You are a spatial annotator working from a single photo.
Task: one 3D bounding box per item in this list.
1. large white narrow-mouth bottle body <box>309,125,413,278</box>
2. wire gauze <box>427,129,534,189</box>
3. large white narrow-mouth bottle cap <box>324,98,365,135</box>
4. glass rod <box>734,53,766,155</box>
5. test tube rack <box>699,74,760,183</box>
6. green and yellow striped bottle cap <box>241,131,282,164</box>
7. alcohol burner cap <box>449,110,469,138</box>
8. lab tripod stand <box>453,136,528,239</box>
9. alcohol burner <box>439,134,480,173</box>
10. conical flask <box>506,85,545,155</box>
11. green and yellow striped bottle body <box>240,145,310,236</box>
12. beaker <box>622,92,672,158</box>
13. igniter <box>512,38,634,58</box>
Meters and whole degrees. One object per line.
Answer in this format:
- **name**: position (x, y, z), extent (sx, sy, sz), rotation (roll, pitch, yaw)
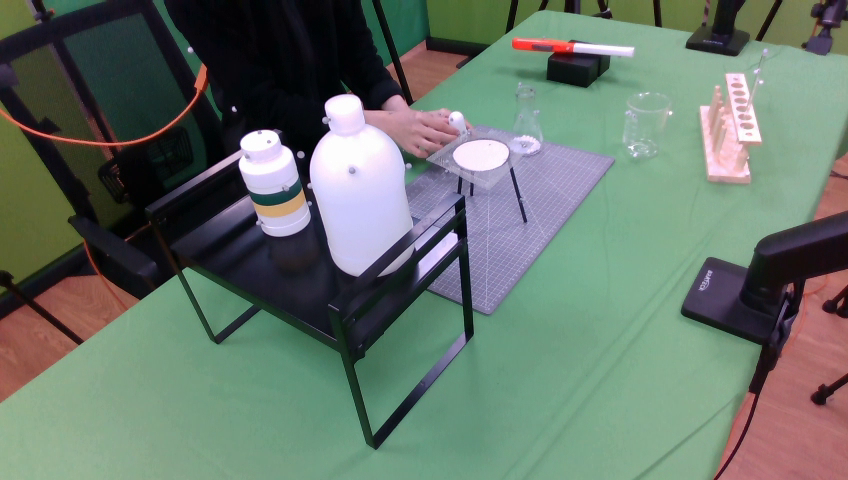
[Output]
- **large white narrow-mouth bottle body**: position (-0.069, -0.057, 0.644), extent (0.102, 0.195, 0.101), rotation (-3, 42, 4)
- **wire gauze**: position (0.086, -0.131, 0.923), extent (0.124, 0.011, 0.122), rotation (26, 52, 33)
- **large white narrow-mouth bottle cap**: position (-0.076, -0.120, 0.585), extent (0.038, 0.024, 0.037), rotation (-3, 42, 3)
- **glass rod**: position (0.540, -0.220, 1.007), extent (0.008, 0.201, 0.008), rotation (-5, 45, 6)
- **test tube rack**: position (0.547, -0.208, 1.095), extent (0.066, 0.085, 0.242), rotation (6, 42, 16)
- **green and yellow striped bottle cap**: position (-0.187, -0.107, 0.695), extent (0.045, 0.020, 0.045), rotation (-3, 39, 3)
- **alcohol burner cap**: position (0.061, -0.209, 1.082), extent (0.034, 0.048, 0.033), rotation (-7, 47, 8)
- **lab tripod stand**: position (0.094, -0.086, 0.974), extent (0.148, 0.132, 0.147), rotation (-4, 43, 4)
- **alcohol burner**: position (0.064, -0.183, 1.107), extent (0.078, 0.119, 0.077), rotation (-3, 43, 4)
- **conical flask**: position (0.190, -0.227, 1.134), extent (0.075, 0.122, 0.075), rotation (-4, 41, 4)
- **green and yellow striped bottle body**: position (-0.181, -0.068, 0.729), extent (0.063, 0.120, 0.063), rotation (-4, 40, 4)
- **beaker**: position (0.402, -0.210, 1.106), extent (0.074, 0.101, 0.083), rotation (-9, 40, -2)
- **igniter**: position (0.328, -0.433, 1.360), extent (0.275, 0.025, 0.057), rotation (12, 33, 20)
